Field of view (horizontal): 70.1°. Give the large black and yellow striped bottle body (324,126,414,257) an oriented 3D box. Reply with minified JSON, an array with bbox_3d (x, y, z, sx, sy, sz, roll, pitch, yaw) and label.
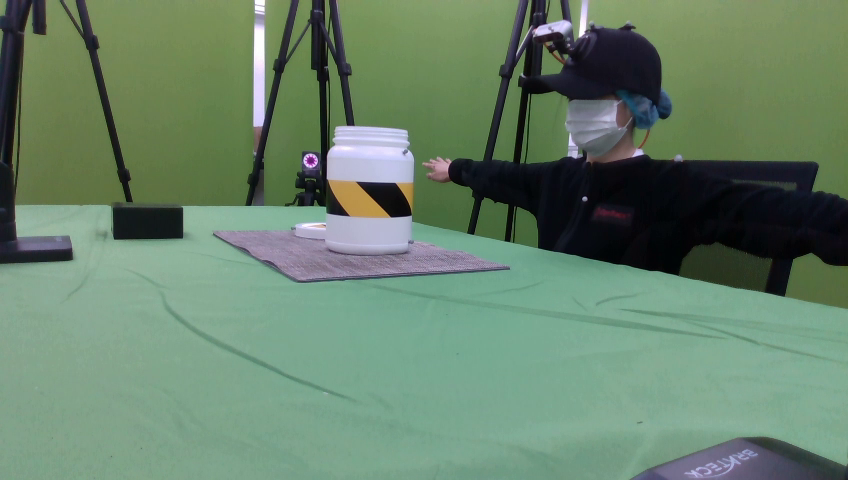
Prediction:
[{"bbox_3d":[-0.082,-0.074,0.904,0.131,0.184,0.130,3,7,0],"label":"large black and yellow striped bottle body"}]

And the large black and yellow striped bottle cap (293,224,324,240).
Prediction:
[{"bbox_3d":[-0.173,-0.015,1.071,0.115,0.019,0.115,2,7,0],"label":"large black and yellow striped bottle cap"}]
